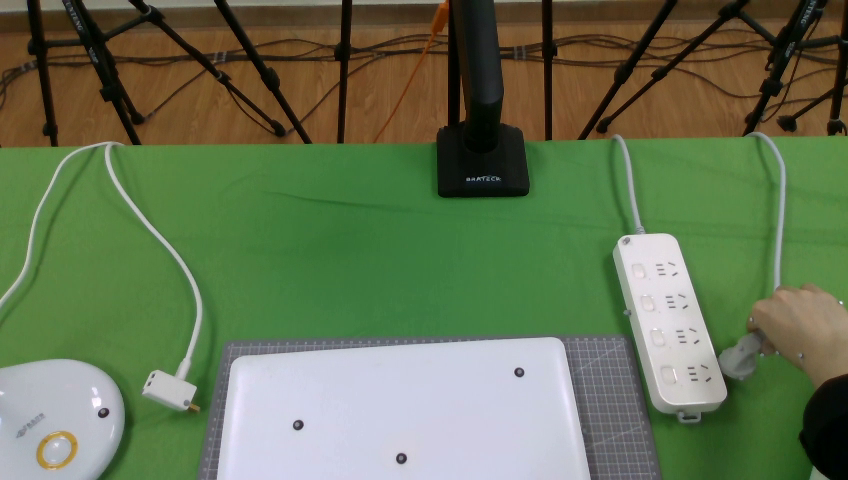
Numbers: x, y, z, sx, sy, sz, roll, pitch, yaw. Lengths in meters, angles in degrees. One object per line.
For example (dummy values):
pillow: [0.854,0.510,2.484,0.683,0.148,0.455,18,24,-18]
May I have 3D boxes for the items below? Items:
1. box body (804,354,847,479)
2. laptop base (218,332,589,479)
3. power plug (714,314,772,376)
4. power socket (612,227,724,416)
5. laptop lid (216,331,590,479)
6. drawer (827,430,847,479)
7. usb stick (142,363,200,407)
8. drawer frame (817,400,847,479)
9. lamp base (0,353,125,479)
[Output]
box body: [0.454,0.249,0.477,0.252,0.162,0.363,28,61,18]
laptop base: [-0.021,0.210,0.594,0.354,0.023,0.233,-3,60,-2]
power plug: [0.340,0.116,0.636,0.073,0.053,0.035,-17,45,-14]
power socket: [0.265,0.079,0.671,0.072,0.033,0.224,-2,56,-2]
laptop lid: [-0.021,0.205,0.583,0.357,0.013,0.239,-2,59,-1]
drawer: [0.477,0.229,0.527,0.193,0.074,0.211,32,63,22]
usb stick: [-0.253,0.151,0.619,0.021,0.060,0.027,-23,38,40]
drawer frame: [0.471,0.229,0.530,0.200,0.083,0.213,33,58,19]
lamp base: [-0.396,0.140,0.546,0.178,0.182,0.160,21,58,18]
